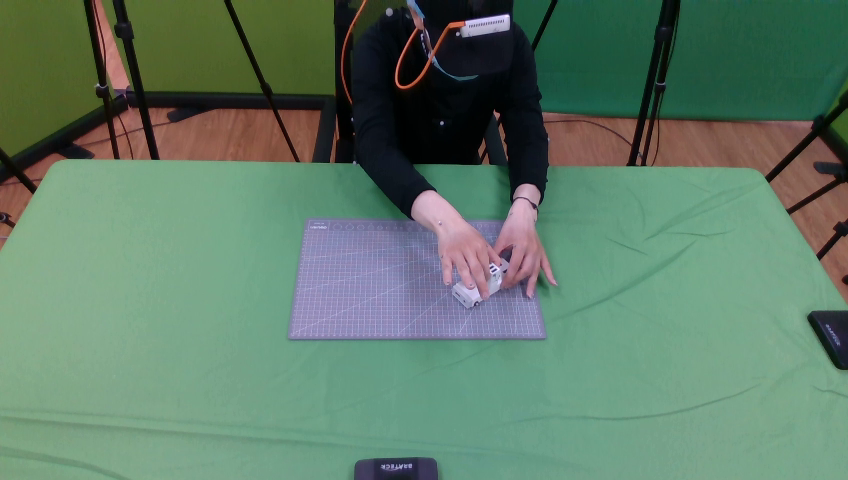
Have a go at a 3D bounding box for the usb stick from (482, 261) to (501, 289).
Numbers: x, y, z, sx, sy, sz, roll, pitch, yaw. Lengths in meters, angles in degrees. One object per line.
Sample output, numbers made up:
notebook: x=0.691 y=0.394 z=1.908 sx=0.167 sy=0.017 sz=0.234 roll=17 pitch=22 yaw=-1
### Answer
usb stick: x=0.121 y=0.068 z=1.089 sx=0.021 sy=0.059 sz=0.027 roll=-29 pitch=56 yaw=-29

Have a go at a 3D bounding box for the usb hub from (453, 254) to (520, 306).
usb hub: x=0.117 y=0.074 z=1.121 sx=0.125 sy=0.025 sz=0.049 roll=-28 pitch=61 yaw=-28
